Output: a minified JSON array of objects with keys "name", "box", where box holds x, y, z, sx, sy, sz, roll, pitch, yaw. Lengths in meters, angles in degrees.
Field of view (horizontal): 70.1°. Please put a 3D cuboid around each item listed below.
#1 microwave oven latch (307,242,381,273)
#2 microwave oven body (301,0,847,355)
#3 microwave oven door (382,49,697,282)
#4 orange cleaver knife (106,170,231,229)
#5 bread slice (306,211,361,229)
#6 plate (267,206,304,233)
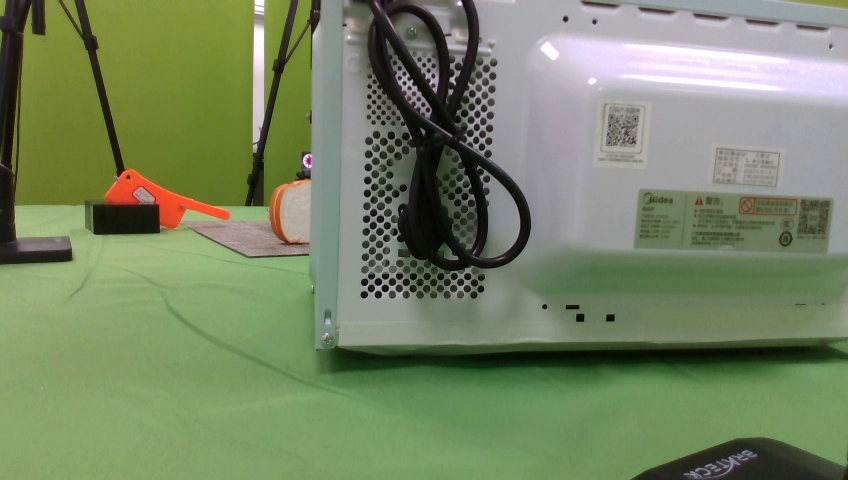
[{"name":"microwave oven latch","box":[-0.086,0.019,0.656,0.079,0.029,0.030,2,7,-10]},{"name":"microwave oven body","box":[0.120,-0.053,0.535,0.443,0.260,0.325,2,7,-11]},{"name":"microwave oven door","box":[0.135,-0.077,0.685,0.357,0.243,0.039,1,8,-12]},{"name":"orange cleaver knife","box":[-0.458,-0.060,1.097,0.212,0.077,0.012,23,-5,-38]},{"name":"bread slice","box":[-0.173,-0.041,1.173,0.107,0.018,0.134,-2,10,-8]},{"name":"plate","box":[-0.197,-0.039,1.175,0.208,0.039,0.207,2,7,0]}]
